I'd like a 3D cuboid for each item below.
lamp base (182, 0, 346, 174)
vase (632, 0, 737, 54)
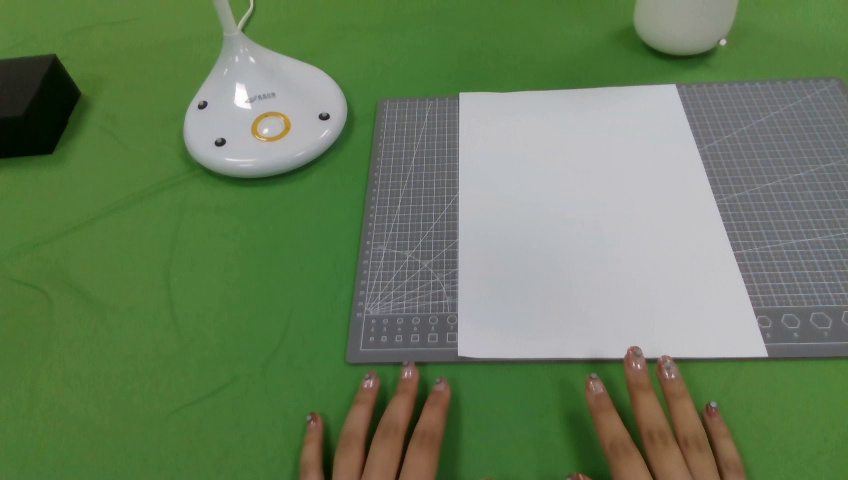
[{"bbox_3d":[-0.170,-0.180,0.545,0.161,0.182,0.177,-27,52,-15],"label":"lamp base"},{"bbox_3d":[0.257,-0.279,0.568,0.098,0.202,0.097,-4,50,5],"label":"vase"}]
